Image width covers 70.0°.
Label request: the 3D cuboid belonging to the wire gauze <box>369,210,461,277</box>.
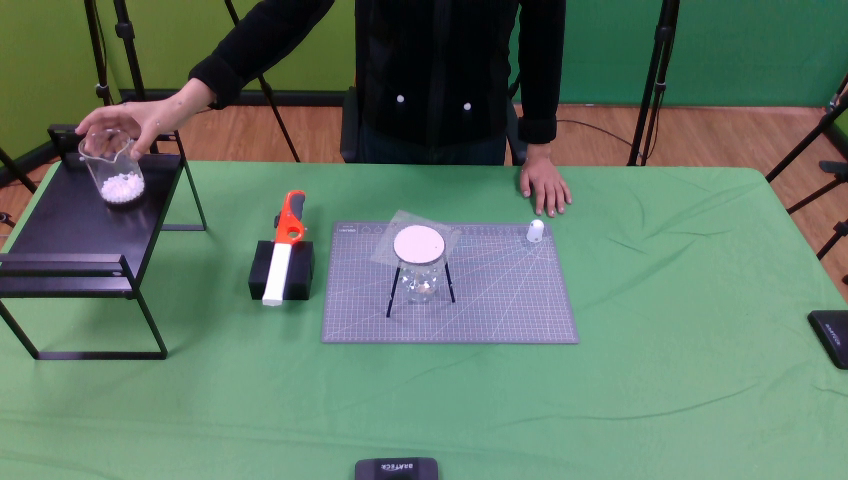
[{"bbox_3d":[-0.013,0.005,1.017,0.121,0.011,0.124,17,49,12],"label":"wire gauze"}]

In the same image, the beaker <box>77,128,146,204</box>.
[{"bbox_3d":[-0.487,-0.112,0.958,0.074,0.101,0.083,-25,52,-24],"label":"beaker"}]

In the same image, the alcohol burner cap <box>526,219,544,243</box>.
[{"bbox_3d":[0.225,-0.021,1.218,0.034,0.048,0.033,1,46,-1],"label":"alcohol burner cap"}]

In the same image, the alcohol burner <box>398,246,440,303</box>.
[{"bbox_3d":[-0.008,0.056,1.077,0.078,0.119,0.077,3,44,-3],"label":"alcohol burner"}]

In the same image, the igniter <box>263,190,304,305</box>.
[{"bbox_3d":[-0.255,0.004,1.107,0.057,0.025,0.274,5,47,-6],"label":"igniter"}]

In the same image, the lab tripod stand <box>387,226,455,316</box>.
[{"bbox_3d":[-0.013,0.054,1.064,0.148,0.132,0.147,2,48,-2],"label":"lab tripod stand"}]
